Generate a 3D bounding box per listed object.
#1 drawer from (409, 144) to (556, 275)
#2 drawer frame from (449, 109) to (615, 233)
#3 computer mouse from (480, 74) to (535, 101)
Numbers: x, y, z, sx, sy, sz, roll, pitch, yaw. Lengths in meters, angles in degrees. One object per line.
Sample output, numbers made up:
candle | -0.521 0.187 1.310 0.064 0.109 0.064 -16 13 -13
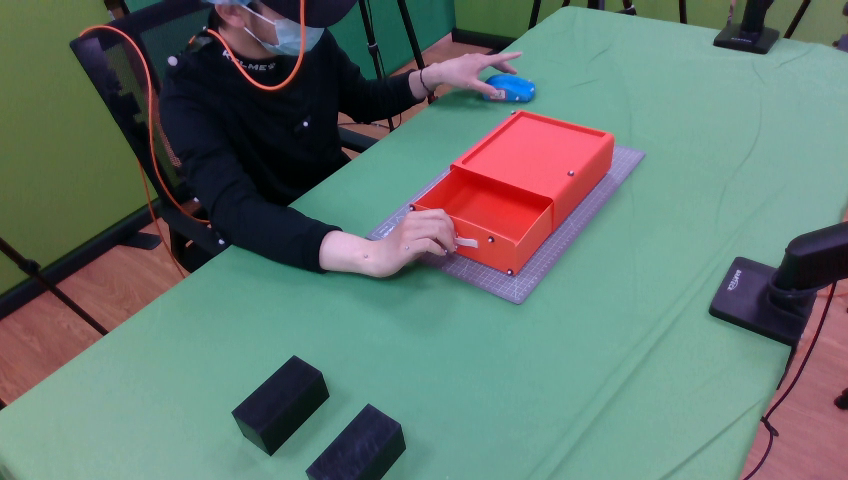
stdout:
drawer | 0.116 -0.060 0.972 0.193 0.073 0.212 22 49 31
drawer frame | 0.185 -0.126 1.037 0.200 0.083 0.214 23 48 31
computer mouse | 0.183 -0.334 1.320 0.117 0.041 0.063 10 41 14
